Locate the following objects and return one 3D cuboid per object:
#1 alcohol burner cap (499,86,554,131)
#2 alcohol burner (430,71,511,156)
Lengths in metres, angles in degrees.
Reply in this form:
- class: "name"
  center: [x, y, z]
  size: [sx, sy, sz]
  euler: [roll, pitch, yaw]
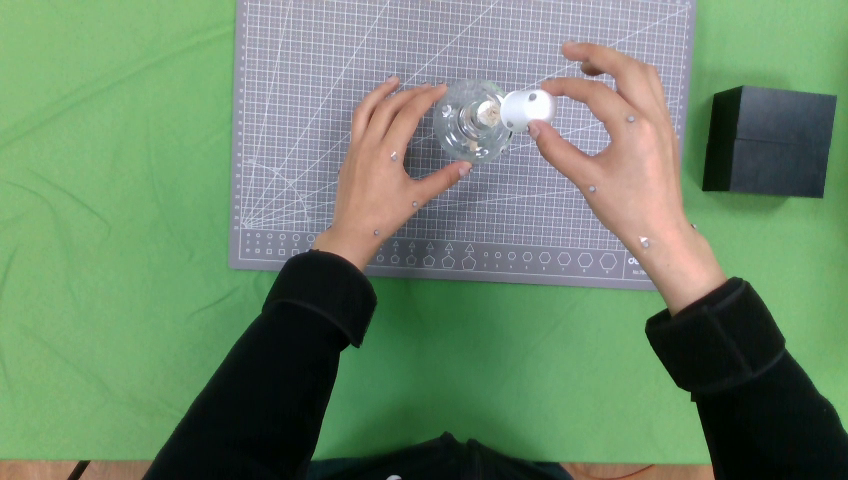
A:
- class: "alcohol burner cap"
  center: [0.080, -0.101, 0.460]
  size: [0.034, 0.047, 0.034]
  euler: [-2, 97, -13]
- class: "alcohol burner"
  center: [0.047, -0.115, 0.545]
  size: [0.078, 0.118, 0.078]
  euler: [-1, 97, -8]
